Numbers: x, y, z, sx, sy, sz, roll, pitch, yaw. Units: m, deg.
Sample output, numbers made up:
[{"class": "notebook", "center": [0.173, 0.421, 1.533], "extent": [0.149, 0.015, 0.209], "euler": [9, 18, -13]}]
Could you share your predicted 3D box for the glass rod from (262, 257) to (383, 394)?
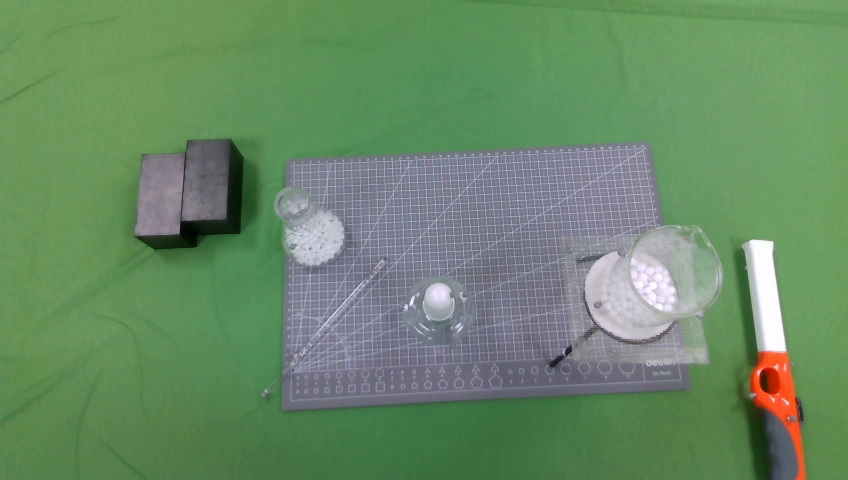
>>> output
[{"class": "glass rod", "center": [-0.112, 0.094, 0.685], "extent": [0.008, 0.008, 0.199], "euler": [39, 77, 11]}]

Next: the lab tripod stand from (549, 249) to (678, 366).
[{"class": "lab tripod stand", "center": [0.192, 0.073, 0.627], "extent": [0.148, 0.132, 0.147], "euler": [0, 75, 0]}]

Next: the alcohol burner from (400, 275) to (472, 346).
[{"class": "alcohol burner", "center": [0.013, 0.071, 0.638], "extent": [0.078, 0.120, 0.077], "euler": [-1, 74, 2]}]

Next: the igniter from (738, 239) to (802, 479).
[{"class": "igniter", "center": [0.380, 0.133, 0.668], "extent": [0.057, 0.025, 0.275], "euler": [5, 74, -10]}]

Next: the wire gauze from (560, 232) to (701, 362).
[{"class": "wire gauze", "center": [0.192, 0.052, 0.564], "extent": [0.125, 0.011, 0.121], "euler": [0, 76, -1]}]

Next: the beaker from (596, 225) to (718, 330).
[{"class": "beaker", "center": [0.194, 0.035, 0.519], "extent": [0.074, 0.101, 0.084], "euler": [32, 77, 8]}]

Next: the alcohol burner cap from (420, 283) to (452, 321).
[{"class": "alcohol burner cap", "center": [0.012, 0.059, 0.604], "extent": [0.034, 0.048, 0.033], "euler": [0, 67, 0]}]

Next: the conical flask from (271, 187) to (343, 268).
[{"class": "conical flask", "center": [-0.133, -0.019, 0.659], "extent": [0.075, 0.122, 0.075], "euler": [0, 73, 0]}]
